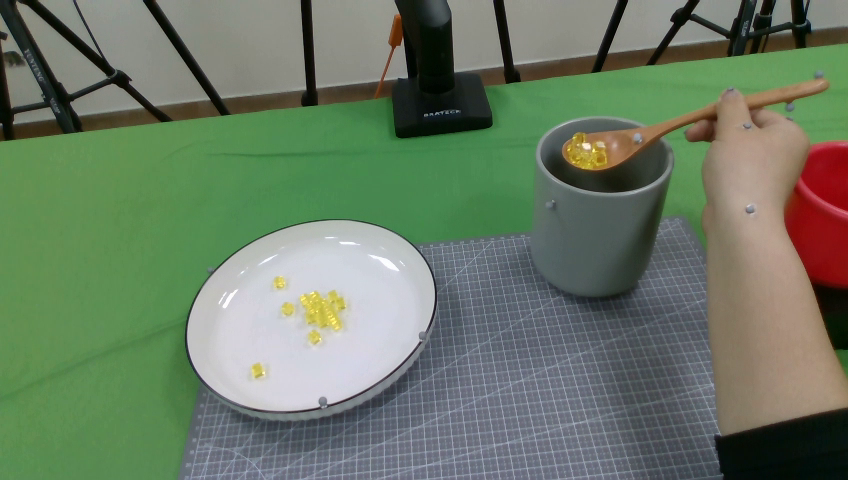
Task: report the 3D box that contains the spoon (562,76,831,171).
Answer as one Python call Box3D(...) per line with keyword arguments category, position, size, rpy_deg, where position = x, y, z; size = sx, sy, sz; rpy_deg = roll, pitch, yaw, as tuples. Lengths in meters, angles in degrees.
Box3D(category="spoon", position=(0.201, -0.089, 0.456), size=(0.193, 0.022, 0.041), rpy_deg=(-17, 49, 17))

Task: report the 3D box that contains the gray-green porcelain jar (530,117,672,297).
Box3D(category="gray-green porcelain jar", position=(0.144, -0.023, 0.514), size=(0.106, 0.128, 0.105), rpy_deg=(-3, 44, 4))

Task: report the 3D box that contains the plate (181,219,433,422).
Box3D(category="plate", position=(-0.094, 0.065, 0.515), size=(0.207, 0.039, 0.205), rpy_deg=(-3, 44, 3))
